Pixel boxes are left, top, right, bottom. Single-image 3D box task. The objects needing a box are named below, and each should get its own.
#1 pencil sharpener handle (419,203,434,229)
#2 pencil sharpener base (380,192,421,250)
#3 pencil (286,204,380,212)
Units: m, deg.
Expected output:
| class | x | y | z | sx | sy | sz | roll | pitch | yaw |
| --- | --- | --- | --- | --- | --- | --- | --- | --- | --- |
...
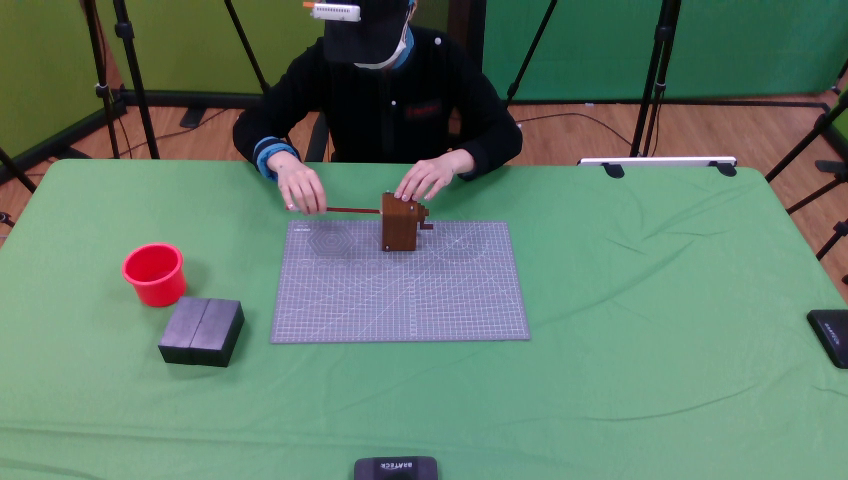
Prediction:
| class | x | y | z | sx | sy | sz | roll | pitch | yaw |
| --- | --- | --- | --- | --- | --- | --- | --- | --- | --- |
| pencil sharpener handle | 0.006 | -0.045 | 1.160 | 0.031 | 0.068 | 0.036 | 0 | 53 | -4 |
| pencil sharpener base | -0.046 | -0.035 | 1.163 | 0.077 | 0.107 | 0.061 | 0 | 46 | -4 |
| pencil | -0.162 | -0.059 | 1.139 | 0.194 | 0.012 | 0.012 | 2 | 46 | -3 |
